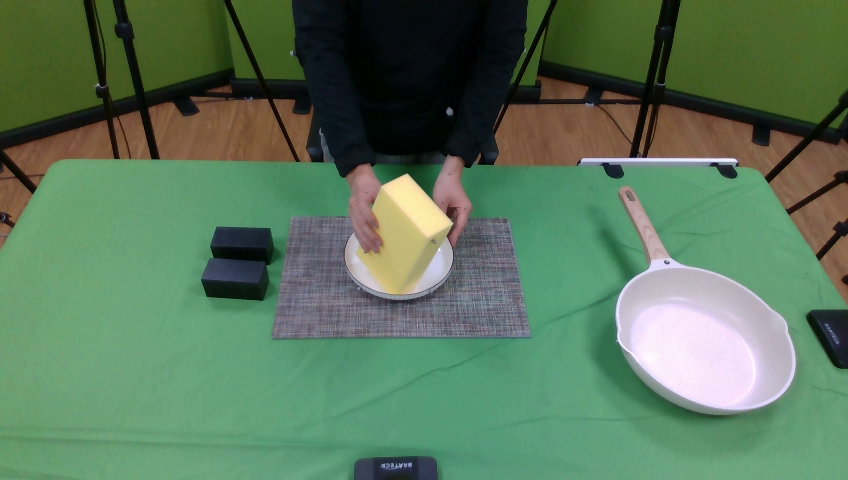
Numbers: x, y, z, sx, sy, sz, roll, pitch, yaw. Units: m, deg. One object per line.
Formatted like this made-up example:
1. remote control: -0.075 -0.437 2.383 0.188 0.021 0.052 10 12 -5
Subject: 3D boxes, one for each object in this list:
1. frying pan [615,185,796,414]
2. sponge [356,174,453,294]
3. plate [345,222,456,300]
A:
1. frying pan: 0.449 0.087 1.092 0.307 0.103 0.484 -4 55 -10
2. sponge: -0.040 -0.001 1.039 0.061 0.207 0.118 -32 72 -34
3. plate: -0.045 0.035 1.146 0.208 0.039 0.206 2 46 -2
